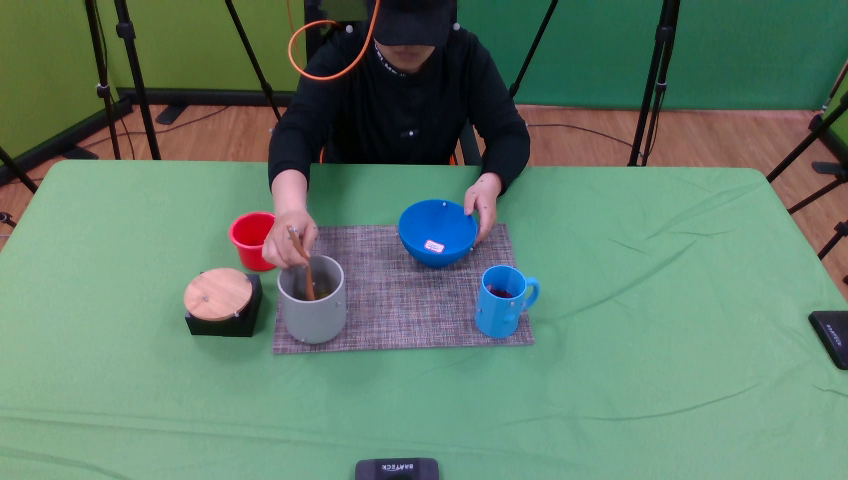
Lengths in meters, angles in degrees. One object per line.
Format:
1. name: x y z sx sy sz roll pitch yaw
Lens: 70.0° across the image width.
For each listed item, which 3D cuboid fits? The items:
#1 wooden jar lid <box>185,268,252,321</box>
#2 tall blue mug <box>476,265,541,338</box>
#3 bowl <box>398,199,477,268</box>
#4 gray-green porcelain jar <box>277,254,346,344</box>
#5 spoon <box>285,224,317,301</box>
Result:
1. wooden jar lid: -0.343 0.093 1.015 0.108 0.021 0.107 3 46 -3
2. tall blue mug: 0.142 0.099 1.047 0.077 0.108 0.107 33 52 27
3. bowl: 0.024 -0.001 1.157 0.151 0.077 0.150 2 46 -2
4. gray-green porcelain jar: -0.184 0.102 1.008 0.106 0.127 0.105 2 46 -2
5. spoon: -0.193 0.046 0.980 0.021 0.195 0.041 -19 42 -15
